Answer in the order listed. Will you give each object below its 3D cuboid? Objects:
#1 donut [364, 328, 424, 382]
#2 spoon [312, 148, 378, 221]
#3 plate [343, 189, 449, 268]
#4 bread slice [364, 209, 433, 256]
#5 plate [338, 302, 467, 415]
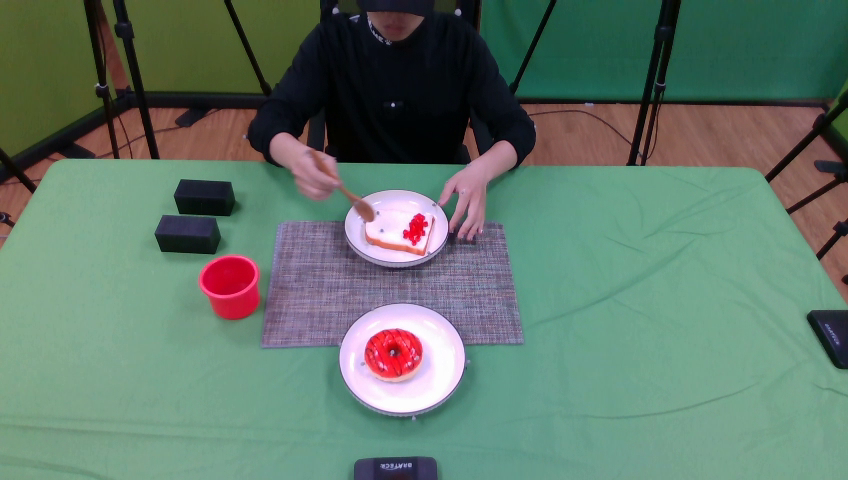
[{"bbox_3d":[-0.049,0.185,0.984,0.099,0.048,0.098,1,45,-1],"label":"donut"},{"bbox_3d":[-0.138,-0.096,1.076,0.041,0.195,0.021,-2,57,32],"label":"spoon"},{"bbox_3d":[-0.055,-0.019,1.195,0.209,0.038,0.208,2,46,-2],"label":"plate"},{"bbox_3d":[-0.053,-0.019,1.199,0.131,0.019,0.104,11,46,3],"label":"bread slice"},{"bbox_3d":[-0.035,0.194,0.992,0.208,0.039,0.206,2,48,-2],"label":"plate"}]
